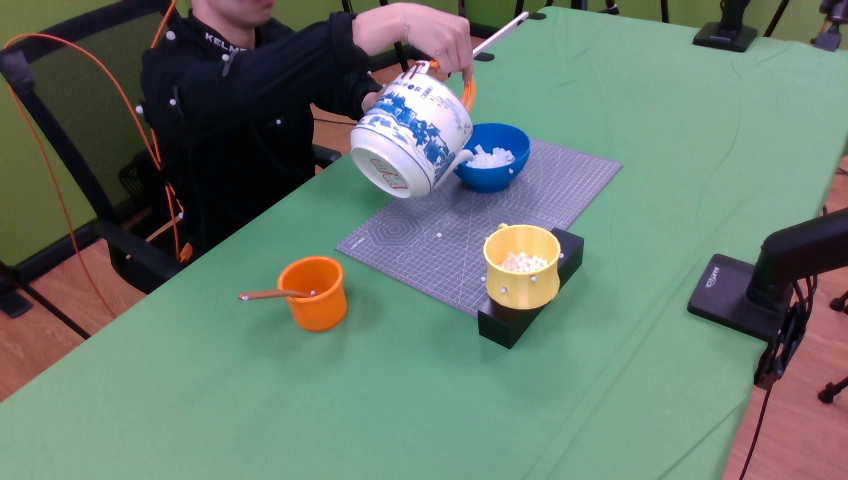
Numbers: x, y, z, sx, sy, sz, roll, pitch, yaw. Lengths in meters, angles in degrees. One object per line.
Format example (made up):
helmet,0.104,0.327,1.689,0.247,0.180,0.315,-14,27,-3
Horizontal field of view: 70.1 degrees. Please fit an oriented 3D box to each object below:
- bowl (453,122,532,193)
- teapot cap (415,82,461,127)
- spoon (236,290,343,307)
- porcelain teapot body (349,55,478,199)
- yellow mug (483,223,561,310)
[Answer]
bowl,0.113,-0.136,1.063,0.151,0.077,0.150,-4,41,4
teapot cap,0.023,-0.211,0.927,0.084,0.086,0.044,23,64,31
spoon,-0.176,0.076,0.808,0.041,0.195,0.021,22,93,30
porcelain teapot body,0.012,-0.164,0.935,0.144,0.207,0.225,20,66,39
yellow mug,0.125,0.025,0.811,0.100,0.064,0.130,-16,39,-10
